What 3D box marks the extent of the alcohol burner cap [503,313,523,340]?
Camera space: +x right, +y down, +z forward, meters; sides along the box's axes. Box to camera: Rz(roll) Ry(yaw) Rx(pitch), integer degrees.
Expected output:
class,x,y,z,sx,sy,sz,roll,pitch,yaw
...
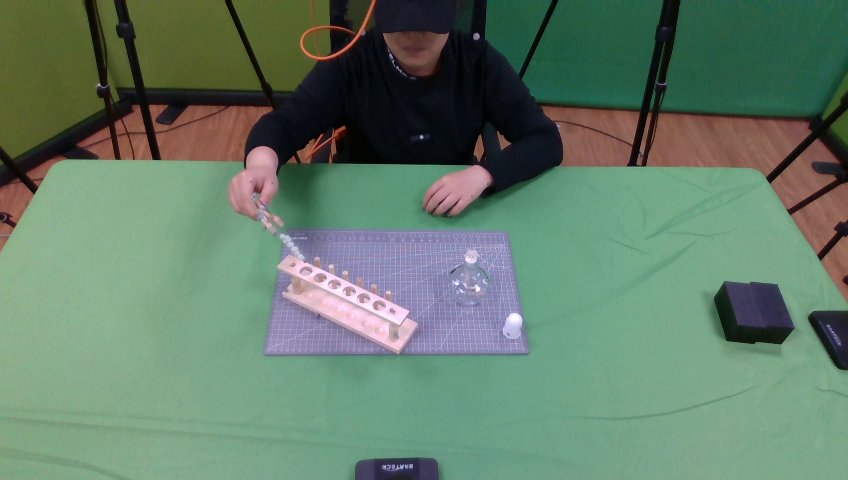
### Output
class,x,y,z,sx,sy,sz,roll,pitch,yaw
alcohol burner cap,0.156,0.148,1.051,0.034,0.048,0.033,1,45,-1

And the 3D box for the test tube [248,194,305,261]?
class,x,y,z,sx,sy,sz,roll,pitch,yaw
test tube,-0.230,-0.016,0.955,0.017,0.151,0.017,-16,44,16

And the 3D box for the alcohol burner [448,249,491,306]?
class,x,y,z,sx,sy,sz,roll,pitch,yaw
alcohol burner,0.081,0.062,1.078,0.078,0.120,0.077,1,45,-1

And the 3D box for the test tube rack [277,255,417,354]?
class,x,y,z,sx,sy,sz,roll,pitch,yaw
test tube rack,-0.131,0.099,1.045,0.241,0.085,0.066,23,49,17

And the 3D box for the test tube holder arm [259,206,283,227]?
class,x,y,z,sx,sy,sz,roll,pitch,yaw
test tube holder arm,-0.246,-0.038,0.961,0.010,0.015,0.087,-45,36,-15

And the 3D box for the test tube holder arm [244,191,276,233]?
class,x,y,z,sx,sy,sz,roll,pitch,yaw
test tube holder arm,-0.272,-0.049,0.996,0.013,0.015,0.177,-40,34,-10
